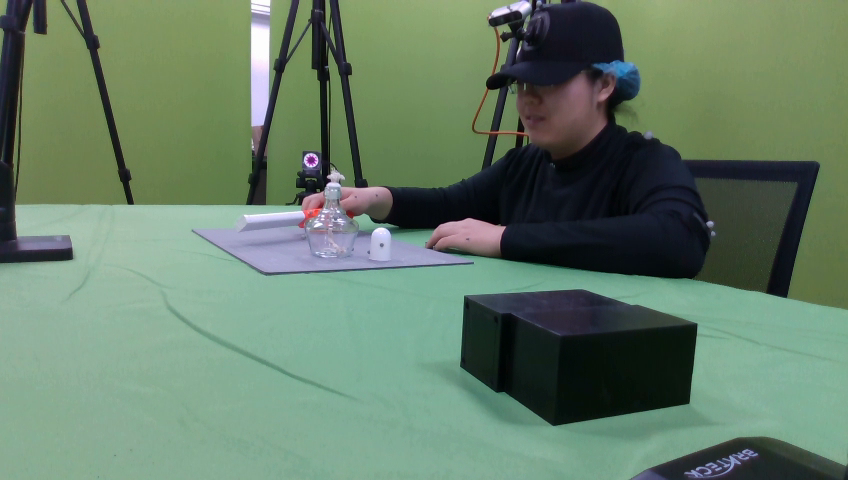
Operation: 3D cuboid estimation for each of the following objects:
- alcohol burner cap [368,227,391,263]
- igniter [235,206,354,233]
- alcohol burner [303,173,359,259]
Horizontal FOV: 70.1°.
[{"bbox_3d":[-0.060,0.006,0.836,0.034,0.048,0.034,3,7,0],"label":"alcohol burner cap"},{"bbox_3d":[-0.208,-0.036,1.034,0.057,0.025,0.278,-36,-12,28],"label":"igniter"},{"bbox_3d":[-0.130,-0.034,0.850,0.078,0.119,0.078,2,5,0],"label":"alcohol burner"}]
